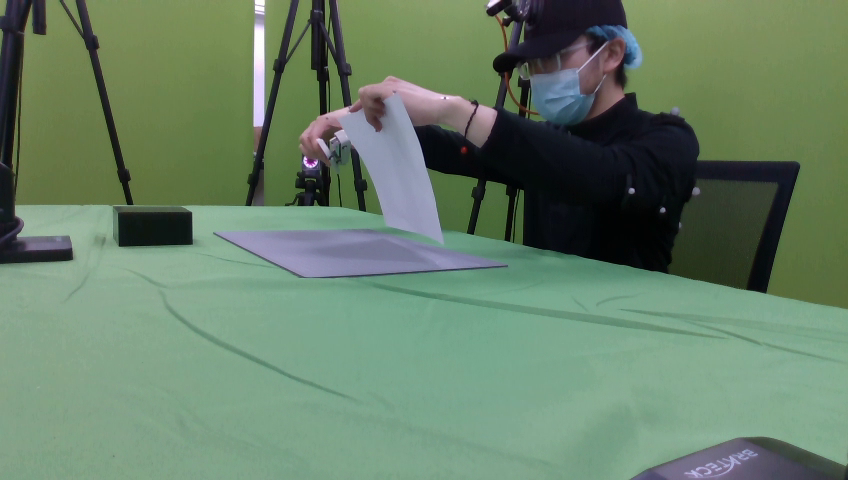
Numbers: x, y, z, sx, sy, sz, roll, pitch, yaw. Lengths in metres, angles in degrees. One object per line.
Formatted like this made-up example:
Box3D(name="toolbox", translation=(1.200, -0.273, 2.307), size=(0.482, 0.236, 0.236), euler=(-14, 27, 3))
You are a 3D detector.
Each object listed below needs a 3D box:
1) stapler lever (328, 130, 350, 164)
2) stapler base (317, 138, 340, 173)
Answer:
Box3D(name="stapler lever", translation=(-0.158, -0.177, 1.155), size=(0.040, 0.027, 0.118), euler=(-30, -6, -3))
Box3D(name="stapler base", translation=(-0.177, -0.165, 1.152), size=(0.024, 0.041, 0.130), euler=(-30, -6, -6))
